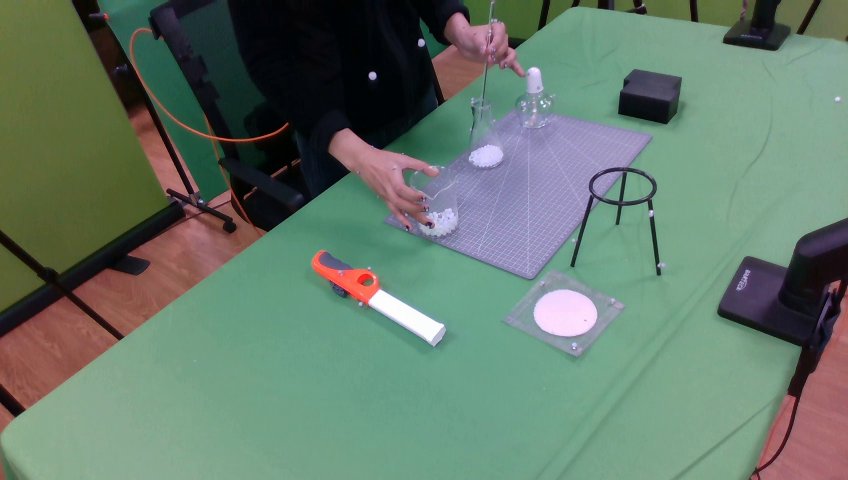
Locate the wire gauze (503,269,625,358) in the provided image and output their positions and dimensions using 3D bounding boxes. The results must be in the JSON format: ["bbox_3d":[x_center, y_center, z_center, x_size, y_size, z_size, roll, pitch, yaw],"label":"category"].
[{"bbox_3d":[0.194,0.100,0.840,0.120,0.011,0.125,27,54,36],"label":"wire gauze"}]

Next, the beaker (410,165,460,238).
[{"bbox_3d":[0.020,-0.058,0.984,0.074,0.101,0.083,-4,41,6],"label":"beaker"}]

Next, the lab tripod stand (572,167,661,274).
[{"bbox_3d":[0.283,-0.030,0.879,0.148,0.132,0.147,-7,38,6],"label":"lab tripod stand"}]

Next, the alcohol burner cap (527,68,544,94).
[{"bbox_3d":[0.216,-0.312,1.179,0.034,0.048,0.033,-9,40,8],"label":"alcohol burner cap"}]

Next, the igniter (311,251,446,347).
[{"bbox_3d":[-0.078,0.081,0.899,0.274,0.025,0.057,27,62,35],"label":"igniter"}]

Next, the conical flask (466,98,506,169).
[{"bbox_3d":[0.111,-0.199,1.116,0.075,0.122,0.075,-5,40,5],"label":"conical flask"}]

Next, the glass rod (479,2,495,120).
[{"bbox_3d":[0.109,-0.304,1.043,0.008,0.200,0.008,3,30,-1],"label":"glass rod"}]

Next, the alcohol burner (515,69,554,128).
[{"bbox_3d":[0.221,-0.285,1.203,0.078,0.119,0.077,-4,39,4],"label":"alcohol burner"}]
